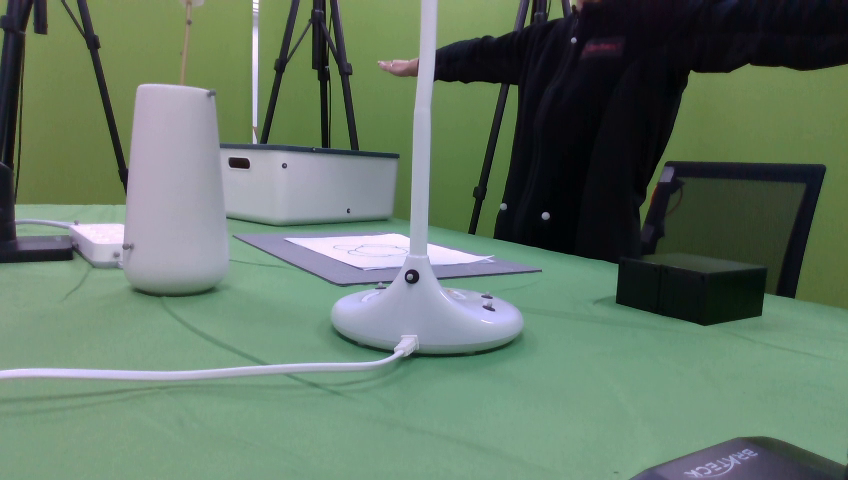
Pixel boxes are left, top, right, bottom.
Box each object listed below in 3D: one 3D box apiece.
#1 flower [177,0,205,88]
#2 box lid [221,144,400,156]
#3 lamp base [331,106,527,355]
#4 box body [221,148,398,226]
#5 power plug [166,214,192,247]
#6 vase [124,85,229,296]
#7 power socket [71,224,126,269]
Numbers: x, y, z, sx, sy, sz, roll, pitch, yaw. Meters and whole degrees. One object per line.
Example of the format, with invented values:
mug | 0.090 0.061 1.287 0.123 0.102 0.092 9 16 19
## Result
flower | -0.243 -0.131 0.609 0.044 0.361 0.038 -5 -12 11
box lid | -0.263 -0.202 1.369 0.262 0.015 0.373 9 10 39
lamp base | 0.006 -0.012 0.478 0.161 0.180 0.179 2 10 2
box body | -0.264 -0.129 1.380 0.253 0.160 0.366 8 9 39
power plug | -0.364 -0.009 0.910 0.035 0.052 0.072 12 -22 -4
vase | -0.244 -0.047 0.598 0.098 0.200 0.098 3 8 0
power socket | -0.409 0.004 0.792 0.072 0.032 0.225 -2 8 -37
